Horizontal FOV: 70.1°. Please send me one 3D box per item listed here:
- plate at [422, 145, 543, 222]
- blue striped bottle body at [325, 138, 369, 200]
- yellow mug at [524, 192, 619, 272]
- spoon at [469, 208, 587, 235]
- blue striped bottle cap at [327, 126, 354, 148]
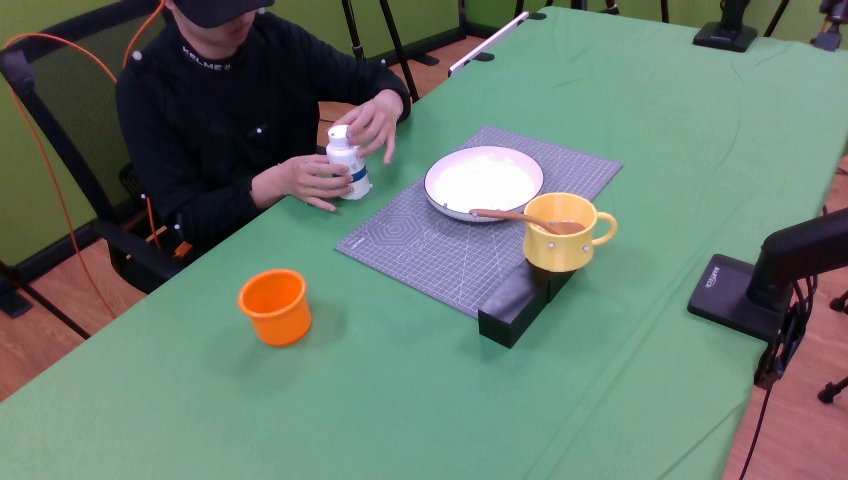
[{"bbox_3d":[0.101,-0.094,1.048,0.207,0.039,0.206,-4,41,4],"label":"plate"},{"bbox_3d":[-0.138,-0.135,1.070,0.063,0.121,0.063,-4,41,4],"label":"blue striped bottle body"},{"bbox_3d":[0.206,-0.014,0.845,0.131,0.064,0.099,-4,41,2],"label":"yellow mug"},{"bbox_3d":[0.143,-0.026,0.817,0.195,0.021,0.041,12,34,-29],"label":"spoon"},{"bbox_3d":[-0.144,-0.177,1.034,0.044,0.021,0.044,-3,40,3],"label":"blue striped bottle cap"}]
